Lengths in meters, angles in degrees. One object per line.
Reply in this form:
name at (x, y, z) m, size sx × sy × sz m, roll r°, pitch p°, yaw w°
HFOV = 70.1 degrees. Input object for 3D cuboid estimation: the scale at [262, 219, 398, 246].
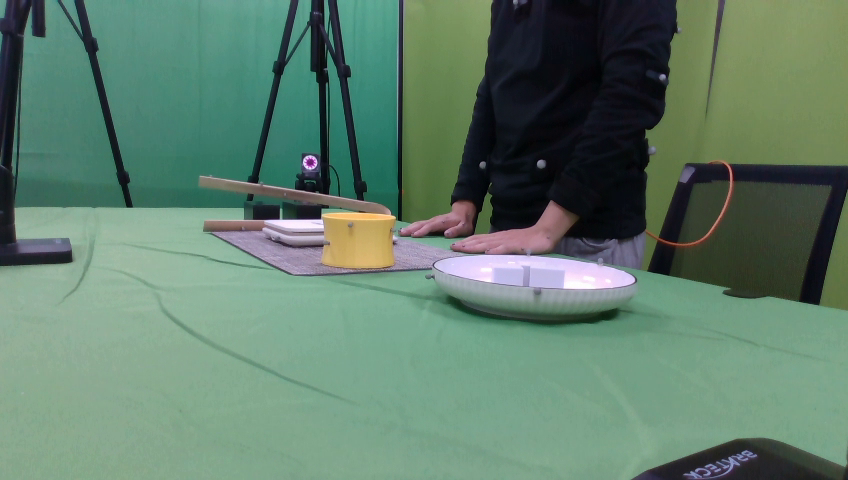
scale at (-0.160, -0.016, 1.028) m, size 0.202 × 0.031 × 0.148 m, roll -1°, pitch 8°, yaw -32°

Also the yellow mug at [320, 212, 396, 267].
yellow mug at (-0.089, -0.004, 0.825) m, size 0.100 × 0.064 × 0.131 m, roll 2°, pitch 6°, yaw -2°

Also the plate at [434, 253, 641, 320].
plate at (0.114, 0.047, 0.626) m, size 0.208 × 0.039 × 0.207 m, roll 2°, pitch 7°, yaw 0°

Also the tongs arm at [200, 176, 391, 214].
tongs arm at (-0.258, -0.084, 1.245) m, size 0.387 × 0.026 × 0.050 m, roll 6°, pitch 32°, yaw -22°

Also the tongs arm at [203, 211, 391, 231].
tongs arm at (-0.231, -0.035, 1.185) m, size 0.390 × 0.028 × 0.028 m, roll -3°, pitch 33°, yaw -33°
